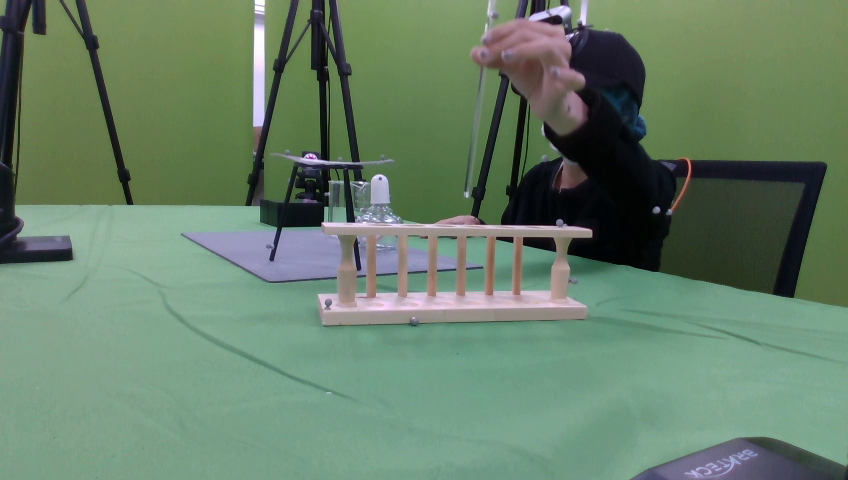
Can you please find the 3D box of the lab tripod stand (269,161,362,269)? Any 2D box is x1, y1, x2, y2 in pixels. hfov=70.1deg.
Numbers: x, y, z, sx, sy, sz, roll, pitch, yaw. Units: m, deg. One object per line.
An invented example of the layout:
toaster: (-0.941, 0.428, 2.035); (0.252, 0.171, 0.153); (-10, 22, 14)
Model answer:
lab tripod stand: (-0.125, -0.036, 0.794); (0.148, 0.131, 0.148); (5, 7, 0)

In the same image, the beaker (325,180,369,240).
beaker: (-0.133, -0.052, 1.058); (0.074, 0.100, 0.083); (-3, 10, -36)

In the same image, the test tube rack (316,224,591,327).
test tube rack: (0.026, 0.028, 0.555); (0.243, 0.085, 0.066); (1, 7, -14)

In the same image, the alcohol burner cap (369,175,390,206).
alcohol burner cap: (-0.069, -0.077, 0.939); (0.034, 0.048, 0.034); (-1, 6, 0)

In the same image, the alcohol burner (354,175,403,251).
alcohol burner: (-0.072, -0.042, 0.944); (0.078, 0.119, 0.078); (1, 9, 0)

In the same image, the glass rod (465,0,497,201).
glass rod: (0.055, -0.136, 0.574); (0.008, 0.199, 0.008); (7, 2, 0)

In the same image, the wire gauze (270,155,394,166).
wire gauze: (-0.122, -0.102, 0.785); (0.122, 0.011, 0.124); (-3, 10, -39)
